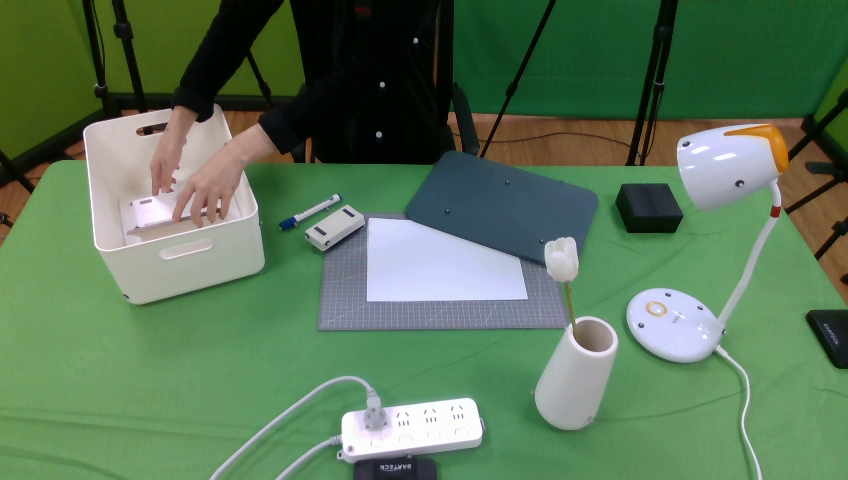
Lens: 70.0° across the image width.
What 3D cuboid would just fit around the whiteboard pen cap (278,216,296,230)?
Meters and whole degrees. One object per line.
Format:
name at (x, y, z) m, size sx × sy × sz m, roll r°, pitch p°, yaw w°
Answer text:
whiteboard pen cap at (-0.273, -0.034, 1.213) m, size 0.033 × 0.018 × 0.018 m, roll -32°, pitch 56°, yaw -31°

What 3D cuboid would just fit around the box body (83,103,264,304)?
box body at (-0.465, -0.077, 1.137) m, size 0.254 × 0.161 × 0.361 m, roll -16°, pitch 50°, yaw -19°

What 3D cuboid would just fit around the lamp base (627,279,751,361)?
lamp base at (0.460, 0.100, 1.027) m, size 0.178 × 0.181 × 0.160 m, roll 27°, pitch 51°, yaw 17°

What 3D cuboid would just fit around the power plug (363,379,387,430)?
power plug at (-0.071, 0.252, 0.911) m, size 0.035 × 0.053 × 0.072 m, roll 3°, pitch 40°, yaw 0°

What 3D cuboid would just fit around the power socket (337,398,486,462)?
power socket at (-0.018, 0.285, 0.914) m, size 0.227 × 0.033 × 0.071 m, roll -4°, pitch 46°, yaw -8°

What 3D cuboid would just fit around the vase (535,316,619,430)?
vase at (0.229, 0.200, 0.900) m, size 0.098 × 0.201 × 0.097 m, roll 3°, pitch 46°, yaw -3°

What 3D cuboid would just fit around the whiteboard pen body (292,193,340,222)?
whiteboard pen body at (-0.231, -0.062, 1.243) m, size 0.141 × 0.017 × 0.017 m, roll -32°, pitch 56°, yaw -30°

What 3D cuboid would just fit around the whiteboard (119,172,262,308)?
whiteboard at (-0.464, -0.059, 1.137) m, size 0.217 × 0.144 × 0.303 m, roll -19°, pitch 51°, yaw -17°

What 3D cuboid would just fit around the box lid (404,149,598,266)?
box lid at (0.171, -0.073, 1.290) m, size 0.371 × 0.015 × 0.262 m, roll 19°, pitch 47°, yaw 14°

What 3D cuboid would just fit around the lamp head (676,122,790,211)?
lamp head at (0.423, -0.104, 0.819) m, size 0.122 × 0.113 × 0.112 m, roll -13°, pitch 33°, yaw 40°

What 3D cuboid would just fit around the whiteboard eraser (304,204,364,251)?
whiteboard eraser at (-0.175, -0.022, 1.188) m, size 0.055 × 0.042 × 0.112 m, roll 36°, pitch 54°, yaw 25°

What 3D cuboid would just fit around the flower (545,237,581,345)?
flower at (0.213, 0.137, 0.846) m, size 0.038 × 0.364 × 0.044 m, roll 21°, pitch 55°, yaw 40°
